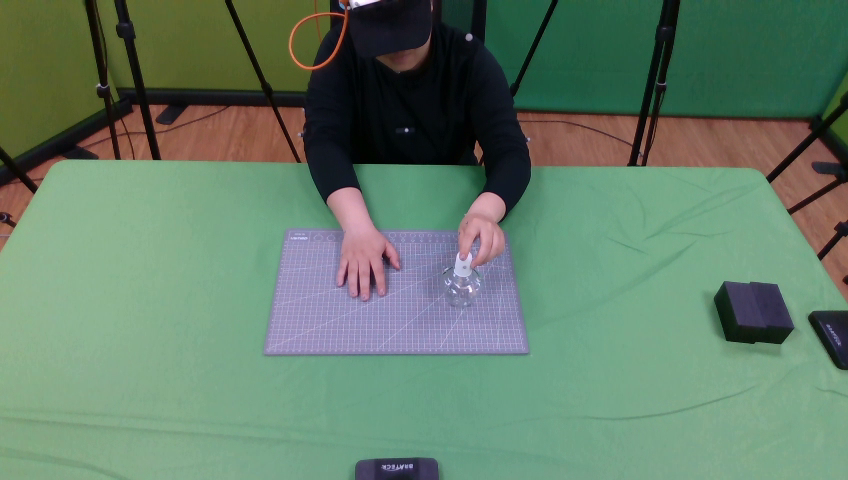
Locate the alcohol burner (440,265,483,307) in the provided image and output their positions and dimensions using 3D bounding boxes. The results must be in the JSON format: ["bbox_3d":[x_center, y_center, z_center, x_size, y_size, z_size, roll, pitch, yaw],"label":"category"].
[{"bbox_3d":[0.068,0.064,1.076,0.078,0.120,0.077,1,45,-1],"label":"alcohol burner"}]

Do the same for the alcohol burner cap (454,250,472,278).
[{"bbox_3d":[0.068,0.038,1.050,0.034,0.048,0.033,0,41,0],"label":"alcohol burner cap"}]
